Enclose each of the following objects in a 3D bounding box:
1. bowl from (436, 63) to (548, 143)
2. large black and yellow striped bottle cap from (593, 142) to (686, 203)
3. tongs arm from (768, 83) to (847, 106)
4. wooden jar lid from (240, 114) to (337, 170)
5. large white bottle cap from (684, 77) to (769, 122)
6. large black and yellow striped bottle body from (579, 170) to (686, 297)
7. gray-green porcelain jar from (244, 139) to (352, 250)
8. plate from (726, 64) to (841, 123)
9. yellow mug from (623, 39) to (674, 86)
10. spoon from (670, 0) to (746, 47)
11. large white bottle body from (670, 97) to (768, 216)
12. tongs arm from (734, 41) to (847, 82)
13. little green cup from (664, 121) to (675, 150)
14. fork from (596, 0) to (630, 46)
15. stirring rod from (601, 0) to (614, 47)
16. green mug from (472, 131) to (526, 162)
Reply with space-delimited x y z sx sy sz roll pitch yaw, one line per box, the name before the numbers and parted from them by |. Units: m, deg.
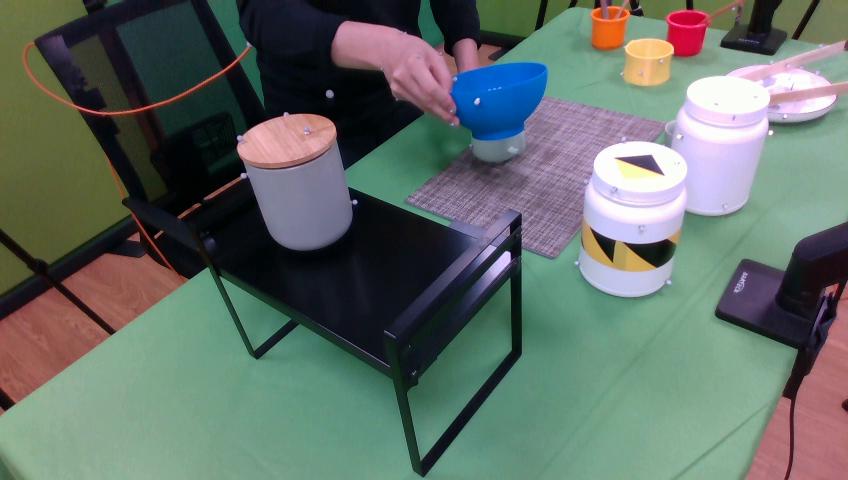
bowl | 0.096 -0.183 0.822 0.151 0.077 0.151 -9 27 5
large black and yellow striped bottle cap | 0.280 -0.090 0.786 0.115 0.019 0.114 -5 41 5
tongs arm | 0.738 -0.281 1.134 0.388 0.028 0.028 -9 47 -5
wooden jar lid | -0.149 -0.106 0.673 0.108 0.021 0.108 -6 38 5
large white bottle cap | 0.448 -0.210 0.898 0.115 0.018 0.114 -4 40 4
large black and yellow striped bottle body | 0.287 -0.027 0.841 0.131 0.185 0.130 -4 40 4
gray-green porcelain jar | -0.144 -0.060 0.714 0.106 0.127 0.105 -4 41 4
plate | 0.695 -0.282 1.189 0.207 0.039 0.206 -4 40 4
yellow mug | 0.484 -0.398 1.334 0.100 0.064 0.130 -18 41 -11
spoon | 0.629 -0.485 1.350 0.022 0.193 0.042 48 54 -7
large white bottle body | 0.458 -0.146 0.952 0.130 0.185 0.130 -4 40 4
tongs arm | 0.712 -0.332 1.194 0.386 0.026 0.050 -18 45 -16
little green cup | 0.473 -0.188 1.113 0.061 0.039 0.061 -5 40 5
fork | 0.481 -0.556 1.453 0.028 0.019 0.207 40 103 38
stirring rod | 0.439 -0.552 1.463 0.014 0.006 0.175 -7 83 3
green mug | 0.144 -0.202 1.122 0.093 0.105 0.124 -29 45 -23
